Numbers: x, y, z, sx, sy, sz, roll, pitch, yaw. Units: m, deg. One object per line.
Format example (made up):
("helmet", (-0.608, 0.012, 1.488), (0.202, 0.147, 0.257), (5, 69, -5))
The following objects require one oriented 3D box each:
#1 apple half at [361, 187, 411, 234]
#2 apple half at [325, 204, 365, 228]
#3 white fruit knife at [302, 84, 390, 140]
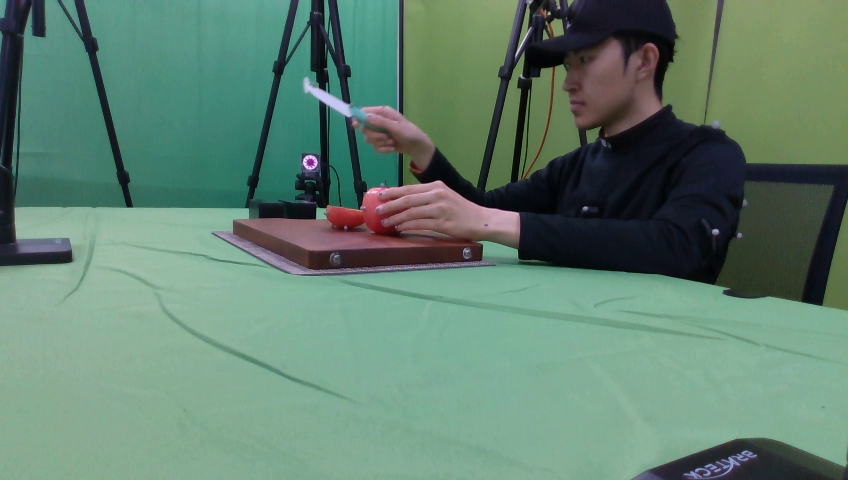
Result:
("apple half", (-0.051, -0.045, 0.939), (0.081, 0.074, 0.053), (1, 10, -44))
("apple half", (-0.128, -0.035, 0.990), (0.081, 0.033, 0.081), (11, -5, 1))
("white fruit knife", (-0.140, -0.238, 1.118), (0.016, 0.027, 0.208), (-17, -29, 41))
